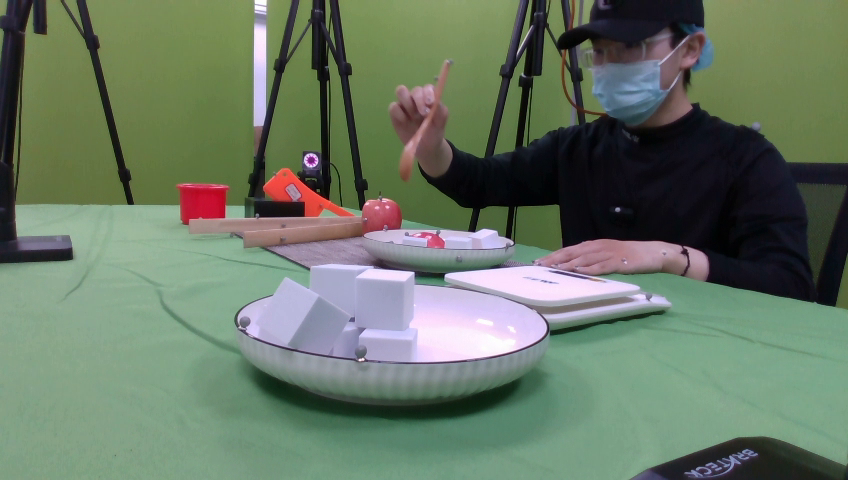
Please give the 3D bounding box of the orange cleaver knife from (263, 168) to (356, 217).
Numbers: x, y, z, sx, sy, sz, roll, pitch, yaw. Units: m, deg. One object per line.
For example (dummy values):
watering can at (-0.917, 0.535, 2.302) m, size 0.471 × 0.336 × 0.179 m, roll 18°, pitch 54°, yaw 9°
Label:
orange cleaver knife at (-0.240, -0.077, 1.294) m, size 0.212 × 0.077 × 0.012 m, roll 32°, pitch -7°, yaw -26°

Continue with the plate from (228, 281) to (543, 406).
plate at (-0.025, 0.067, 0.413) m, size 0.208 × 0.039 × 0.207 m, roll 3°, pitch 7°, yaw 0°

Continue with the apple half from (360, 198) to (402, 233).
apple half at (-0.066, -0.032, 1.014) m, size 0.053 × 0.074 × 0.081 m, roll 9°, pitch 6°, yaw 21°

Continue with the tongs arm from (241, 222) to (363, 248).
tongs arm at (-0.159, -0.016, 1.034) m, size 0.028 × 0.028 × 0.389 m, roll 2°, pitch 6°, yaw 33°

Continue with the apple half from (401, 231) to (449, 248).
apple half at (0.003, 0.005, 0.843) m, size 0.081 × 0.033 × 0.081 m, roll 1°, pitch 4°, yaw 0°

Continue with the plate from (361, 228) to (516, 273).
plate at (0.018, 0.013, 0.818) m, size 0.209 × 0.038 × 0.209 m, roll 2°, pitch 7°, yaw 0°

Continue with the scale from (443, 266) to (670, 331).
scale at (0.131, 0.052, 0.603) m, size 0.202 × 0.031 × 0.148 m, roll -3°, pitch 9°, yaw -37°

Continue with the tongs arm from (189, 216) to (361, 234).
tongs arm at (-0.221, -0.028, 1.088) m, size 0.387 × 0.026 × 0.050 m, roll -3°, pitch 9°, yaw -43°

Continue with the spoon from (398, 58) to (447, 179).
spoon at (0.000, -0.178, 0.878) m, size 0.022 × 0.193 × 0.041 m, roll 27°, pitch -13°, yaw -19°
